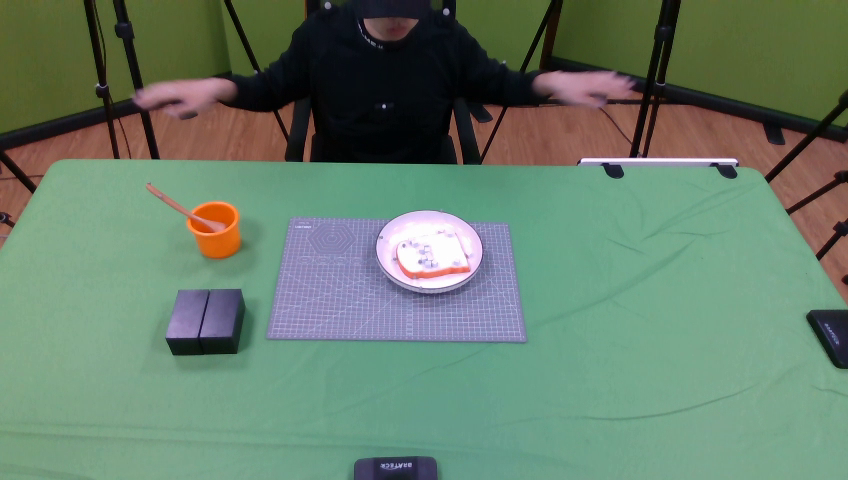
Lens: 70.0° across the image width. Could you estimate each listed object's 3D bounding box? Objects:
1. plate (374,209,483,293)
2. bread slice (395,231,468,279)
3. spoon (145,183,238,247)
[{"bbox_3d":[0.009,0.024,1.160,0.209,0.038,0.208,2,46,-2],"label":"plate"},{"bbox_3d":[0.011,0.030,1.158,0.132,0.019,0.104,-8,47,-14],"label":"bread slice"},{"bbox_3d":[-0.424,-0.045,1.114,0.195,0.021,0.041,34,40,-28],"label":"spoon"}]
